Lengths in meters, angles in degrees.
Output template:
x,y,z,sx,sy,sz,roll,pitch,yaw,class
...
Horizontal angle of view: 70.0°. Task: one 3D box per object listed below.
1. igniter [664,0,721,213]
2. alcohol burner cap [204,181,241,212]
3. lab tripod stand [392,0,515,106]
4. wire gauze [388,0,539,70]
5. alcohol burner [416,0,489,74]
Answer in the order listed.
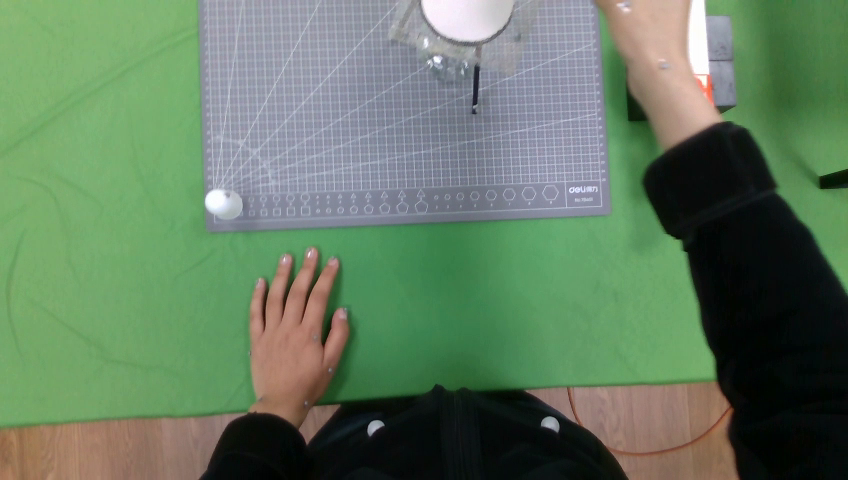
x,y,z,sx,sy,sz,roll,pitch,yaw,class
0.281,-0.165,0.637,0.057,0.025,0.276,0,86,0,igniter
-0.217,-0.048,0.644,0.034,0.048,0.034,0,87,-3,alcohol burner cap
0.039,-0.227,0.619,0.148,0.131,0.148,0,85,-2,lab tripod stand
0.044,-0.228,0.552,0.121,0.011,0.125,20,85,-2,wire gauze
0.031,-0.217,0.628,0.078,0.119,0.078,0,89,-2,alcohol burner
